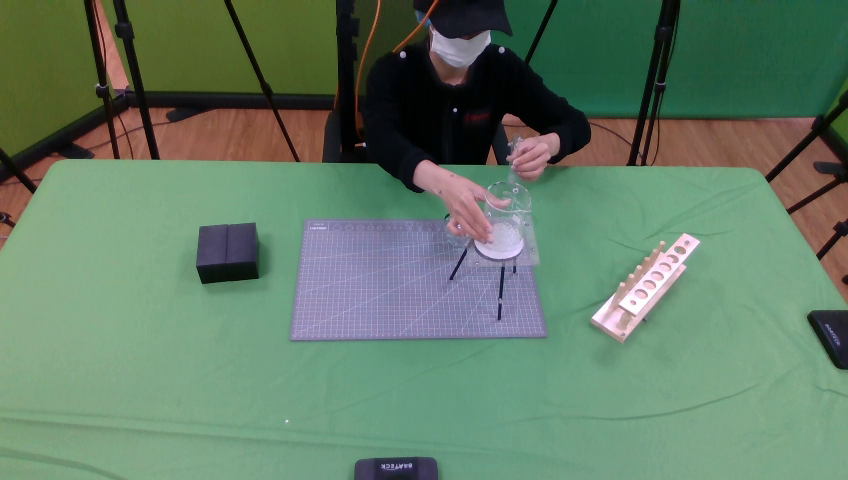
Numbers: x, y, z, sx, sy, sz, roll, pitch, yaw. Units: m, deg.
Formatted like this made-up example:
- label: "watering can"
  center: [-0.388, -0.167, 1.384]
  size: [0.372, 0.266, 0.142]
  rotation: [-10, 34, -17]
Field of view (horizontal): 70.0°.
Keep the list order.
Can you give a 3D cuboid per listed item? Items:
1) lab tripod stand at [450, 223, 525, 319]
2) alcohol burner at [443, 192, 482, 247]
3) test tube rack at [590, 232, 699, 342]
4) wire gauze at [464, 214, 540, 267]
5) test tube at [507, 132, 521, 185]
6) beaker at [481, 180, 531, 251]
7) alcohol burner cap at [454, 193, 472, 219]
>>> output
- label: "lab tripod stand"
  center: [0.120, 0.046, 1.080]
  size: [0.148, 0.132, 0.147]
  rotation: [1, 47, -1]
- label: "alcohol burner"
  center: [0.075, -0.044, 1.177]
  size: [0.078, 0.120, 0.077]
  rotation: [1, 44, -1]
- label: "test tube rack"
  center: [0.407, 0.074, 1.112]
  size: [0.066, 0.085, 0.242]
  rotation: [35, 53, 26]
- label: "wire gauze"
  center: [0.131, -0.001, 1.035]
  size: [0.121, 0.011, 0.124]
  rotation: [1, 44, -2]
- label: "test tube"
  center: [0.175, -0.156, 1.189]
  size: [0.017, 0.151, 0.017]
  rotation: [-1, 58, 2]
- label: "beaker"
  center: [0.135, -0.036, 1.001]
  size: [0.083, 0.101, 0.074]
  rotation: [30, 53, 24]
- label: "alcohol burner cap"
  center: [0.076, -0.068, 1.151]
  size: [0.034, 0.048, 0.033]
  rotation: [4, 46, -4]
